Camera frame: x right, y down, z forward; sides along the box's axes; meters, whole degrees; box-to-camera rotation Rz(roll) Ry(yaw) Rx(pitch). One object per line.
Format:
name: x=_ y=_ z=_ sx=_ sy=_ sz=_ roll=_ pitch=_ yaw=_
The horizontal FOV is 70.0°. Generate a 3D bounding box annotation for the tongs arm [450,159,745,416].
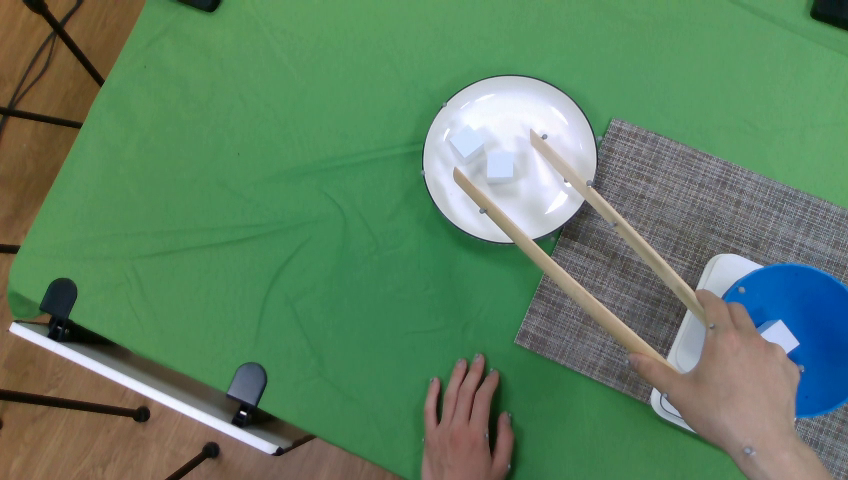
tongs arm: x=0.140 y=0.027 z=0.597 sx=0.028 sy=0.028 sz=0.383 roll=-27 pitch=52 yaw=-21

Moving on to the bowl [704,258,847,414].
bowl: x=0.356 y=0.098 z=0.625 sx=0.151 sy=0.077 sz=0.151 roll=0 pitch=83 yaw=4

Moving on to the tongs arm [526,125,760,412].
tongs arm: x=0.192 y=0.002 z=0.611 sx=0.051 sy=0.027 sz=0.380 roll=-24 pitch=51 yaw=-14

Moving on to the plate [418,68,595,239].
plate: x=0.097 y=-0.102 z=0.730 sx=0.207 sy=0.039 sz=0.207 roll=-1 pitch=82 yaw=4

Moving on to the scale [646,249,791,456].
scale: x=0.352 y=0.123 z=0.675 sx=0.148 sy=0.031 sz=0.200 roll=25 pitch=85 yaw=8
